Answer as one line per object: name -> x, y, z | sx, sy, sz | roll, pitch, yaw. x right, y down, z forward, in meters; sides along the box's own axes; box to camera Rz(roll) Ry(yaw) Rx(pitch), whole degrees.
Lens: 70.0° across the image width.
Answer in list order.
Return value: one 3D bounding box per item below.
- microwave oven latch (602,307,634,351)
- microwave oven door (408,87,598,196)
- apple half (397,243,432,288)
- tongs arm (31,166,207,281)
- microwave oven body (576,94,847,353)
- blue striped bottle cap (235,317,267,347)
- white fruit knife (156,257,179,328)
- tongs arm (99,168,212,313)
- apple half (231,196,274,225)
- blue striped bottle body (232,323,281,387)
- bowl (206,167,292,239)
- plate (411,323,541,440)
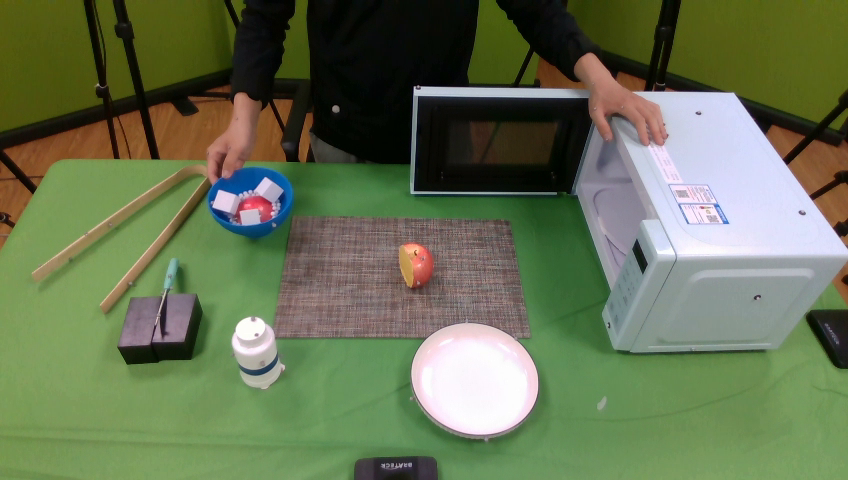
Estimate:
microwave oven latch -> 0.332, 0.153, 1.044 | 0.030, 0.029, 0.078 | 0, 45, -4
microwave oven door -> 0.149, -0.194, 1.226 | 0.356, 0.245, 0.039 | 0, 45, -4
apple half -> -0.013, 0.047, 1.115 | 0.053, 0.075, 0.080 | -10, 43, -21
tongs arm -> -0.578, -0.040, 1.185 | 0.050, 0.026, 0.384 | 23, 48, 17
microwave oven body -> 0.475, -0.041, 1.109 | 0.326, 0.261, 0.438 | -1, 45, -4
blue striped bottle cap -> -0.259, 0.137, 0.907 | 0.044, 0.021, 0.044 | 3, 43, -2
white fruit knife -> -0.440, 0.085, 1.037 | 0.016, 0.027, 0.206 | 10, 26, -19
tongs arm -> -0.504, -0.012, 1.167 | 0.028, 0.028, 0.385 | 11, 46, 10
apple half -> -0.319, -0.059, 1.126 | 0.081, 0.033, 0.081 | 2, 50, -2
blue striped bottle body -> -0.262, 0.172, 0.944 | 0.063, 0.121, 0.062 | 2, 46, -2
bowl -> -0.319, -0.056, 1.129 | 0.151, 0.077, 0.150 | 3, 50, -3
plate -> 0.082, 0.228, 0.976 | 0.208, 0.039, 0.206 | 2, 45, -2
